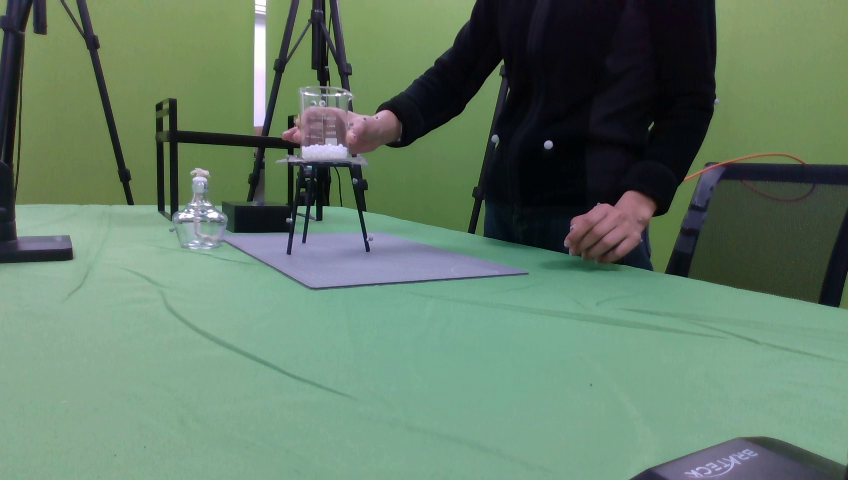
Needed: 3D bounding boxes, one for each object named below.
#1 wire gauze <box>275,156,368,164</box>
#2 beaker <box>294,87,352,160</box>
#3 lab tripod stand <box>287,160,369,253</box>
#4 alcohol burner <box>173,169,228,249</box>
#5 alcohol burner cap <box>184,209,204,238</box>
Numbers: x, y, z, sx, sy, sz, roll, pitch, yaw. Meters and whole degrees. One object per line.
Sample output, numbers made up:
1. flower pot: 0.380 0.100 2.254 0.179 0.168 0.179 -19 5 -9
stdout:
1. wire gauze: -0.147 -0.119 0.895 0.121 0.011 0.125 1 7 -3
2. beaker: -0.146 -0.168 0.885 0.084 0.100 0.074 0 7 -5
3. lab tripod stand: -0.157 -0.053 0.901 0.148 0.131 0.148 0 7 0
4. alcohol burner: -0.333 -0.047 0.903 0.078 0.119 0.078 2 6 0
5. alcohol burner cap: -0.390 -0.029 1.026 0.034 0.048 0.034 2 9 0
